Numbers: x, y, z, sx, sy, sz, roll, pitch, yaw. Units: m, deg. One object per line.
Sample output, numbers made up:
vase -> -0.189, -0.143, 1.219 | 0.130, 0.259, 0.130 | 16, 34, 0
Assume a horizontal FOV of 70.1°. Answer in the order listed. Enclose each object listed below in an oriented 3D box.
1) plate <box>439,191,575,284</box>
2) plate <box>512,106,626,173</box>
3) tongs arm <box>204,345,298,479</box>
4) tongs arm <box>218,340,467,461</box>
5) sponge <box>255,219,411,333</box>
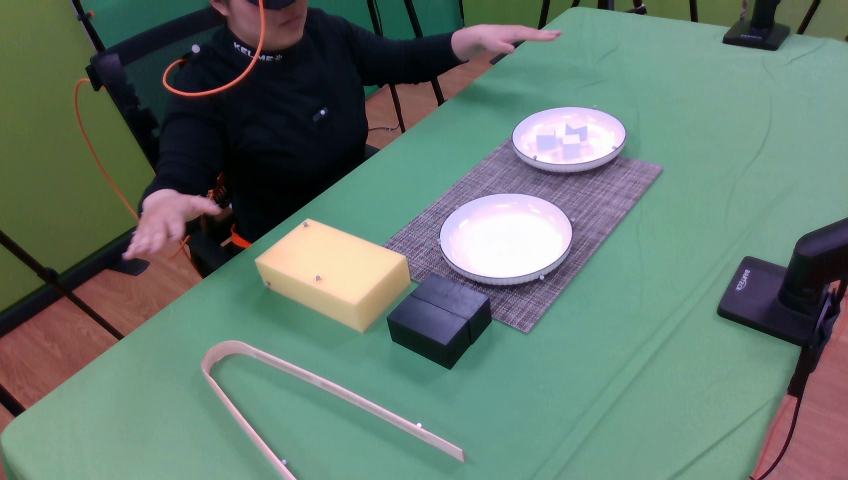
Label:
plate -> 0.129, -0.002, 0.942 | 0.207, 0.039, 0.206 | -5, 40, 5
plate -> 0.269, -0.185, 1.132 | 0.209, 0.038, 0.208 | -5, 40, 5
tongs arm -> -0.170, 0.238, 0.721 | 0.381, 0.026, 0.051 | 28, 52, 37
tongs arm -> -0.117, 0.196, 0.767 | 0.385, 0.028, 0.028 | 16, 49, 28
sponge -> -0.139, 0.048, 0.922 | 0.205, 0.061, 0.118 | 19, 47, 30
